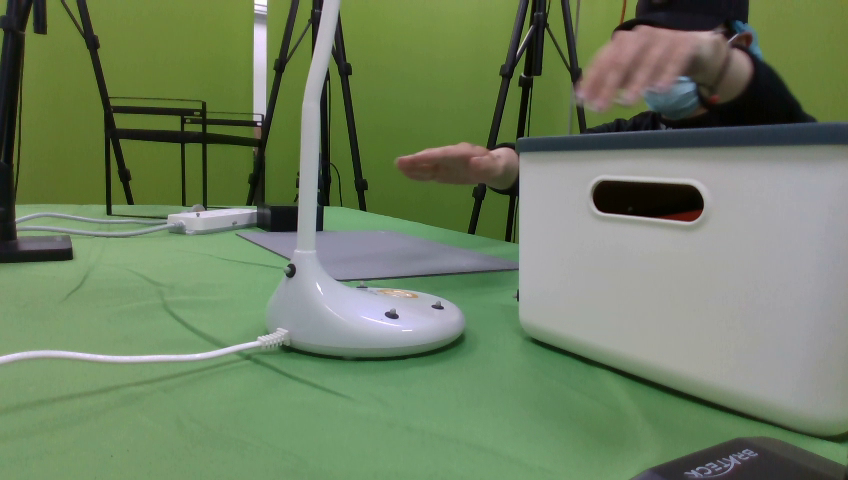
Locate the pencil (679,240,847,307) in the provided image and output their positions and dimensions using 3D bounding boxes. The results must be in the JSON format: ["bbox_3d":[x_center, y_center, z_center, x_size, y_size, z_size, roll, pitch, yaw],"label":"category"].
[{"bbox_3d":[0.249,0.019,0.463,0.012,0.012,0.193,1,11,-8],"label":"pencil"}]

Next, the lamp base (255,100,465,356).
[{"bbox_3d":[-0.051,-0.014,0.466,0.160,0.180,0.180,7,11,33],"label":"lamp base"}]

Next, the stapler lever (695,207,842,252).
[{"bbox_3d":[0.267,-0.010,0.484,0.027,0.040,0.117,-14,2,-19],"label":"stapler lever"}]

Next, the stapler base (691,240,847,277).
[{"bbox_3d":[0.271,0.014,0.486,0.041,0.024,0.130,-14,3,-19],"label":"stapler base"}]

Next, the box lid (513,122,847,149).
[{"bbox_3d":[0.282,-0.068,0.478,0.374,0.015,0.262,-3,9,-36],"label":"box lid"}]

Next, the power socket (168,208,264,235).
[{"bbox_3d":[-0.381,-0.038,1.129,0.072,0.032,0.227,4,8,17],"label":"power socket"}]

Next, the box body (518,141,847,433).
[{"bbox_3d":[0.278,0.005,0.486,0.366,0.160,0.253,-3,9,-36],"label":"box body"}]

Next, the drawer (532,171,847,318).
[{"bbox_3d":[0.226,0.004,0.467,0.213,0.073,0.193,-13,2,-35],"label":"drawer"}]

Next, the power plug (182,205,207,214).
[{"bbox_3d":[-0.456,-0.041,1.195,0.052,0.035,0.072,0,39,24],"label":"power plug"}]
